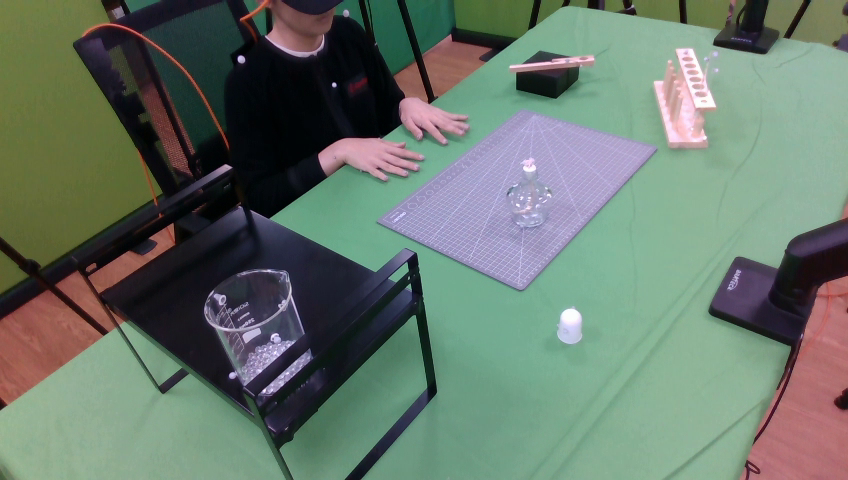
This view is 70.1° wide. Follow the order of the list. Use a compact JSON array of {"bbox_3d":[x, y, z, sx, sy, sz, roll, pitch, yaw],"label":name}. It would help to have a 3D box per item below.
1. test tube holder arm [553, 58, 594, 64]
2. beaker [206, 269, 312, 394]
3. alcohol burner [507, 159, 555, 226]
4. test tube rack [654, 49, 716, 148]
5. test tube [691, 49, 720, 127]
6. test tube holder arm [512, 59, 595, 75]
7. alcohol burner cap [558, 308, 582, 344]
[{"bbox_3d":[0.321,-0.380,1.299,0.088,0.015,0.010,-5,38,1],"label":"test tube holder arm"},{"bbox_3d":[-0.146,0.086,0.560,0.073,0.101,0.084,19,46,27],"label":"beaker"},{"bbox_3d":[0.172,-0.081,0.969,0.078,0.119,0.077,-4,42,4],"label":"alcohol burner"},{"bbox_3d":[0.502,-0.281,1.176,0.066,0.085,0.241,2,41,11],"label":"test tube rack"},{"bbox_3d":[0.505,-0.270,1.087,0.017,0.151,0.017,-2,41,2],"label":"test tube"},{"bbox_3d":[0.276,-0.371,1.294,0.179,0.015,0.013,-8,38,-2],"label":"test tube holder arm"},{"bbox_3d":[0.195,0.111,0.802,0.034,0.048,0.033,-4,39,4],"label":"alcohol burner cap"}]
